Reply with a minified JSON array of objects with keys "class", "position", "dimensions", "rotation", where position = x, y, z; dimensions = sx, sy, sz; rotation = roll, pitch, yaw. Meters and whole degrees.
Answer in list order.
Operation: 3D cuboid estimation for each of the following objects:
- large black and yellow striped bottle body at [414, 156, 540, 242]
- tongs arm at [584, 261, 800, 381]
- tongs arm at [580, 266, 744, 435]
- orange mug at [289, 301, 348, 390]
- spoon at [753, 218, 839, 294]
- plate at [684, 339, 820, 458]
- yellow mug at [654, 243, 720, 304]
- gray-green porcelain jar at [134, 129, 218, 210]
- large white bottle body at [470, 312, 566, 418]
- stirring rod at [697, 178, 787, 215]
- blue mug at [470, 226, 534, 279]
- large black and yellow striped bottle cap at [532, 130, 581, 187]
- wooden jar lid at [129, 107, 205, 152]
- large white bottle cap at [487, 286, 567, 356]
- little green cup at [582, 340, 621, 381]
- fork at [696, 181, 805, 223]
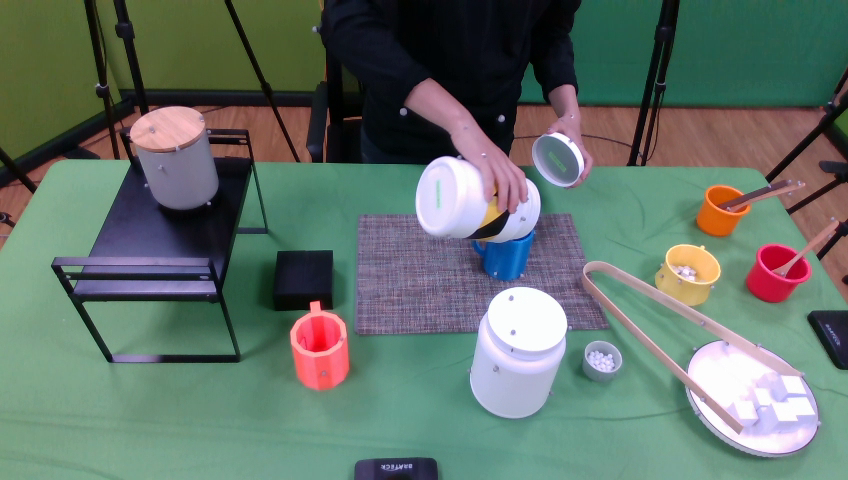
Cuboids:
[{"class":"large black and yellow striped bottle body","position":[0.091,-0.065,1.016],"dimensions":[0.185,0.131,0.130],"rotation":[5,41,-34]},{"class":"tongs arm","position":[0.452,0.137,1.064],"dimensions":[0.051,0.027,0.382],"rotation":[-34,50,-27]},{"class":"tongs arm","position":[0.384,0.173,1.028],"dimensions":[0.028,0.028,0.385],"rotation":[-25,46,-15]},{"class":"orange mug","position":[-0.170,0.162,0.976],"dimensions":[0.083,0.101,0.125],"rotation":[-8,52,-11]},{"class":"spoon","position":[0.700,0.031,1.138],"dimensions":[0.194,0.022,0.041],"rotation":[-47,55,14]},{"class":"plate","position":[0.523,0.256,0.982],"dimensions":[0.208,0.039,0.206],"rotation":[2,46,-2]},{"class":"yellow mug","position":[0.504,0.054,1.154],"dimensions":[0.099,0.064,0.130],"rotation":[28,50,22]},{"class":"gray-green porcelain jar","position":[-0.388,-0.120,0.960],"dimensions":[0.106,0.127,0.105],"rotation":[2,46,-2]},{"class":"large white bottle body","position":[0.143,0.173,0.930],"dimensions":[0.131,0.185,0.130],"rotation":[2,46,-2]},{"class":"stirring rod","position":[0.650,-0.088,1.245],"dimensions":[0.006,0.176,0.014],"rotation":[29,50,-39]},{"class":"blue mug","position":[0.141,0.005,1.140],"dimensions":[0.116,0.106,0.082],"rotation":[18,48,13]},{"class":"large black and yellow striped bottle cap","position":[0.260,-0.161,1.196],"dimensions":[0.019,0.115,0.114],"rotation":[-33,57,-26]},{"class":"wooden jar lid","position":[-0.385,-0.163,0.915],"dimensions":[0.108,0.021,0.107],"rotation":[2,47,-2]},{"class":"large white bottle cap","position":[0.147,0.114,0.869],"dimensions":[0.115,0.018,0.114],"rotation":[3,46,-3]},{"class":"little green cup","position":[0.295,0.204,1.014],"dimensions":[0.061,0.039,0.061],"rotation":[2,45,-2]},{"class":"fork","position":[0.659,-0.077,1.232],"dimensions":[0.207,0.019,0.028],"rotation":[-26,35,34]}]
